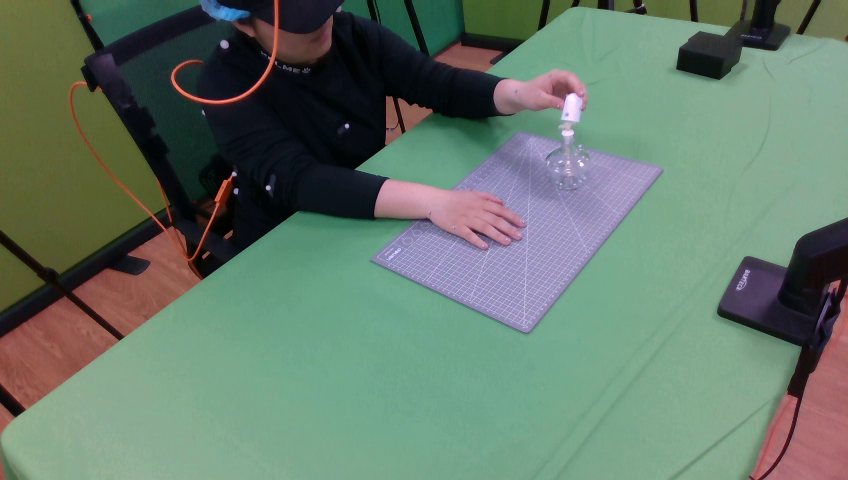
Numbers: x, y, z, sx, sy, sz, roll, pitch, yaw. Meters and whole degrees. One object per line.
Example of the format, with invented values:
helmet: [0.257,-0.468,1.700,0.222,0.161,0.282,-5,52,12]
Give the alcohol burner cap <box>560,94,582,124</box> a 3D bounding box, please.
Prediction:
alcohol burner cap: [0.244,-0.216,0.996,0.034,0.048,0.034,7,14,-1]

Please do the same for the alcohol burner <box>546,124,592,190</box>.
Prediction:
alcohol burner: [0.247,-0.146,1.035,0.078,0.120,0.077,-7,41,6]
